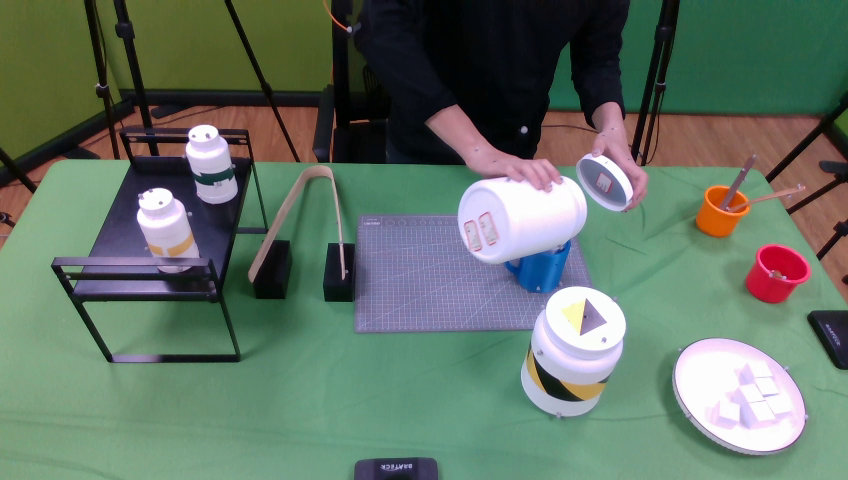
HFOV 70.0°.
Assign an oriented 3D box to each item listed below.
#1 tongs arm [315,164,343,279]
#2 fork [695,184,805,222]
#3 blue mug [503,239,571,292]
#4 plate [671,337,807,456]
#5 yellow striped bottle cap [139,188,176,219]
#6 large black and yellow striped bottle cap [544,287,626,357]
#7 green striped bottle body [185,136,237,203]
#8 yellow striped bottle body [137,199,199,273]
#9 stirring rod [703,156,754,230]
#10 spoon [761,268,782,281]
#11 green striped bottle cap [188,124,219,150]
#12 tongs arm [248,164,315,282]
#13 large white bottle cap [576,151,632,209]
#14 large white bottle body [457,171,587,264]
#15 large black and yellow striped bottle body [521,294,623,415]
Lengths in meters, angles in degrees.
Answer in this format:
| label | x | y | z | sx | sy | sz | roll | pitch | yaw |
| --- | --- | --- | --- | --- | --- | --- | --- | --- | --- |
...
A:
| label | x | y | z | sx | sy | sz | roll | pitch | yaw |
| --- | --- | --- | --- | --- | --- | --- | --- | --- | --- |
| tongs arm | -0.188 | -0.049 | 1.170 | 0.051 | 0.026 | 0.382 | -6 | 35 | -6 |
| fork | 0.657 | -0.075 | 1.230 | 0.207 | 0.019 | 0.028 | -23 | 34 | 37 |
| blue mug | 0.203 | 0.031 | 1.121 | 0.116 | 0.106 | 0.082 | 5 | 46 | 1 |
| plate | 0.504 | 0.253 | 0.984 | 0.208 | 0.039 | 0.206 | 2 | 46 | -2 |
| yellow striped bottle cap | -0.363 | -0.050 | 0.826 | 0.044 | 0.019 | 0.044 | 0 | 47 | 0 |
| large black and yellow striped bottle cap | 0.232 | 0.116 | 0.876 | 0.115 | 0.019 | 0.114 | 2 | 46 | -1 |
| green striped bottle body | -0.341 | -0.121 | 0.968 | 0.063 | 0.120 | 0.063 | 2 | 46 | -2 |
| yellow striped bottle body | -0.366 | -0.014 | 0.863 | 0.063 | 0.121 | 0.062 | 2 | 46 | -2 |
| stirring rod | 0.631 | -0.097 | 1.258 | 0.014 | 0.006 | 0.176 | 33 | 95 | 29 |
| spoon | 0.638 | 0.060 | 1.105 | 0.041 | 0.021 | 0.194 | 38 | 11 | 24 |
| green striped bottle cap | -0.339 | -0.158 | 0.931 | 0.044 | 0.020 | 0.044 | 3 | 46 | -3 |
| tongs arm | -0.269 | -0.047 | 1.166 | 0.028 | 0.028 | 0.385 | -1 | 34 | 7 |
| large white bottle cap | 0.312 | -0.104 | 1.054 | 0.018 | 0.115 | 0.114 | -39 | 58 | -10 |
| large white bottle body | 0.160 | -0.040 | 0.972 | 0.185 | 0.131 | 0.130 | -12 | 47 | -35 |
| large black and yellow striped bottle body | 0.228 | 0.173 | 0.938 | 0.131 | 0.185 | 0.130 | 2 | 47 | -2 |
